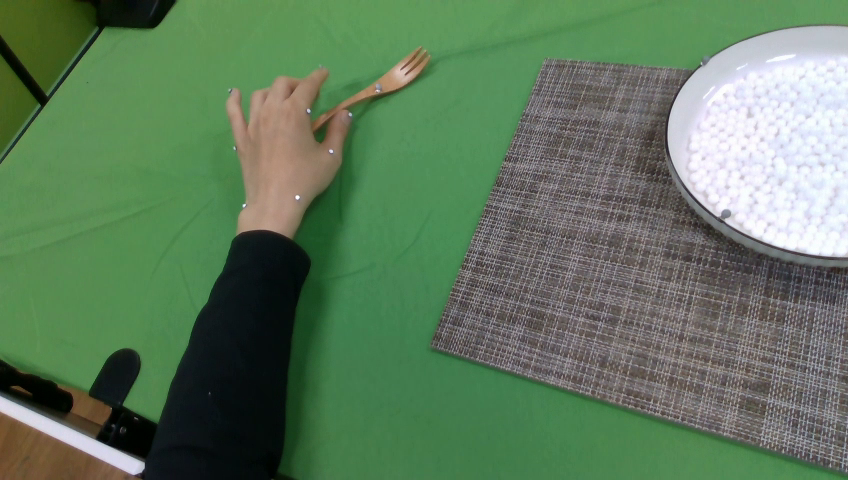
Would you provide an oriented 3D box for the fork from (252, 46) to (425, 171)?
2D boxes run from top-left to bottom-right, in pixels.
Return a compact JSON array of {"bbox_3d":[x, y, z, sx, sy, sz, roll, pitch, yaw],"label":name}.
[{"bbox_3d":[-0.086,-0.132,0.611,0.207,0.019,0.028,-34,63,-5],"label":"fork"}]

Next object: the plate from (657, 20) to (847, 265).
[{"bbox_3d":[0.279,-0.072,0.440,0.209,0.038,0.207,-8,59,14],"label":"plate"}]
